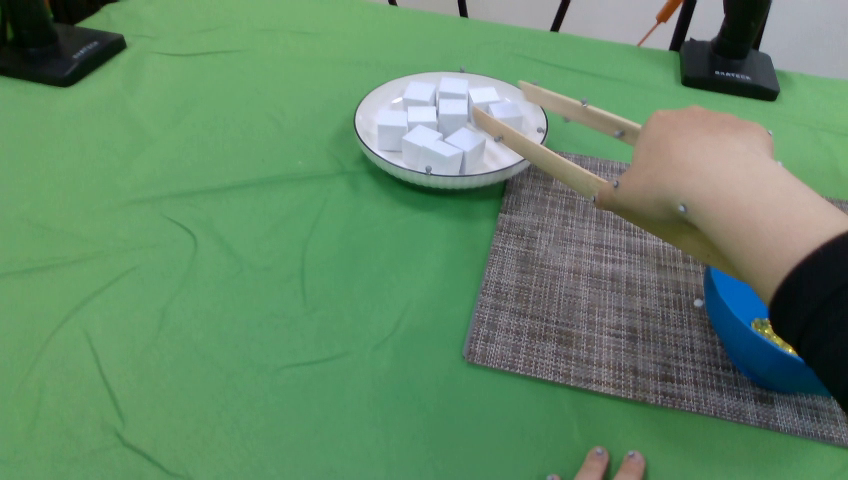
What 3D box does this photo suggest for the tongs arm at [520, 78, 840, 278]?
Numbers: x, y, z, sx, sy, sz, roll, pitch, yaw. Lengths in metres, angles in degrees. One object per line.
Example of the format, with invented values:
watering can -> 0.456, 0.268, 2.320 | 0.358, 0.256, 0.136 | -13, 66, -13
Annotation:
tongs arm -> 0.164, -0.076, 0.492 | 0.051, 0.027, 0.380 | -29, 33, -10

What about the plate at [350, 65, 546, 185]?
plate -> 0.025, -0.123, 0.654 | 0.209, 0.038, 0.207 | 1, 44, -1

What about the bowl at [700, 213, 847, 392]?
bowl -> 0.275, 0.058, 0.455 | 0.151, 0.077, 0.150 | 2, 45, -2

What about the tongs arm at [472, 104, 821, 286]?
tongs arm -> 0.131, -0.058, 0.487 | 0.028, 0.028, 0.383 | -26, 32, -12
